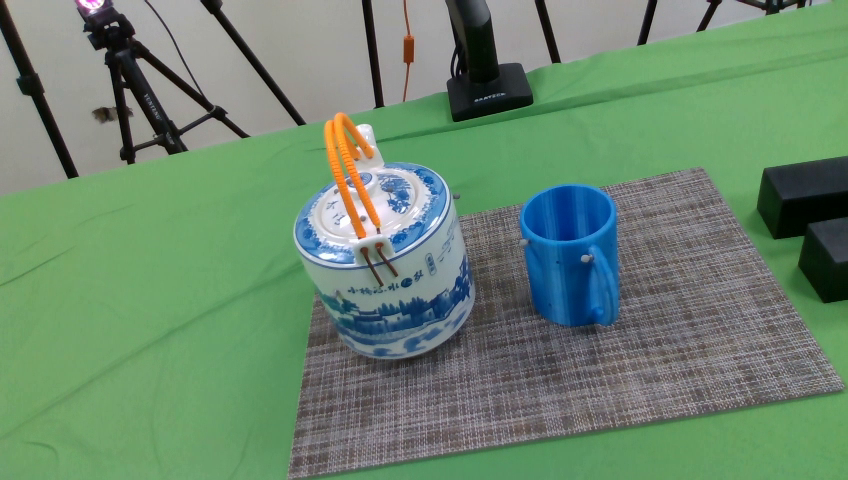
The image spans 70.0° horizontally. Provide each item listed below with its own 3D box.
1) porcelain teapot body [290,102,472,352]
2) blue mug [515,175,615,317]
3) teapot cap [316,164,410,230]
[{"bbox_3d":[-0.048,-0.031,0.566,0.145,0.228,0.203,-16,41,1],"label":"porcelain teapot body"},{"bbox_3d":[0.136,0.016,0.543,0.082,0.107,0.115,-23,42,-6],"label":"blue mug"},{"bbox_3d":[-0.053,-0.042,0.519,0.085,0.044,0.084,-8,40,7],"label":"teapot cap"}]
